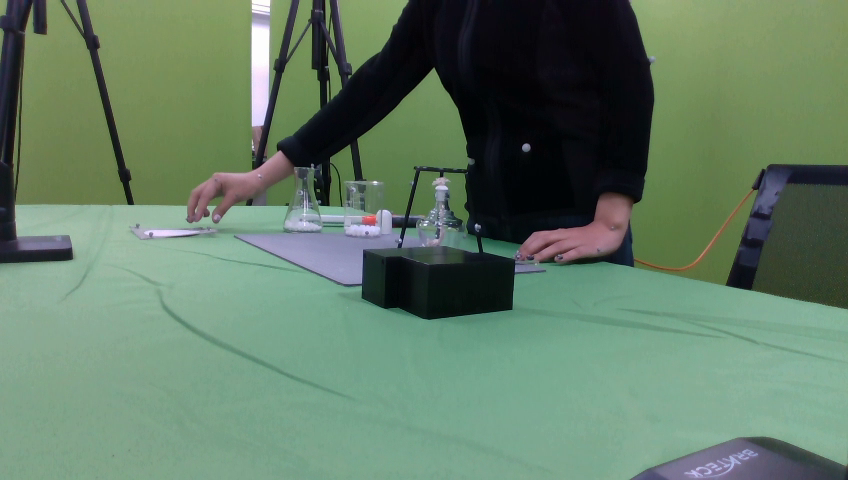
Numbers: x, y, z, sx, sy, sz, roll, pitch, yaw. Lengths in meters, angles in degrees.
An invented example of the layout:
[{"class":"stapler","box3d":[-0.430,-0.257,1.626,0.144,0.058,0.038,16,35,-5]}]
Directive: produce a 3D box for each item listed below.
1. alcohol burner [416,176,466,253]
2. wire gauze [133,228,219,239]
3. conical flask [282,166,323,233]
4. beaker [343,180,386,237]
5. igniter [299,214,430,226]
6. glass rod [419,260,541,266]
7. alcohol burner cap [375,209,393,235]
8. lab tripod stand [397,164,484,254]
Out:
[{"class":"alcohol burner","box3d":[0.027,-0.039,0.934,0.078,0.119,0.078,2,9,0]},{"class":"wire gauze","box3d":[-0.421,-0.014,1.024,0.122,0.011,0.124,-2,7,-34]},{"class":"conical flask","box3d":[-0.225,-0.076,1.129,0.075,0.122,0.075,2,8,0]},{"class":"beaker","box3d":[-0.111,-0.058,1.090,0.083,0.100,0.074,7,8,34]},{"class":"igniter","box3d":[-0.123,-0.044,1.281,0.278,0.025,0.057,0,-2,-19]},{"class":"glass rod","box3d":[0.080,0.031,0.807,0.201,0.008,0.008,1,6,-32]},{"class":"alcohol burner cap","box3d":[-0.076,-0.035,1.150,0.034,0.048,0.034,2,7,0]},{"class":"lab tripod stand","box3d":[0.029,-0.049,0.930,0.148,0.131,0.148,4,6,0]}]
